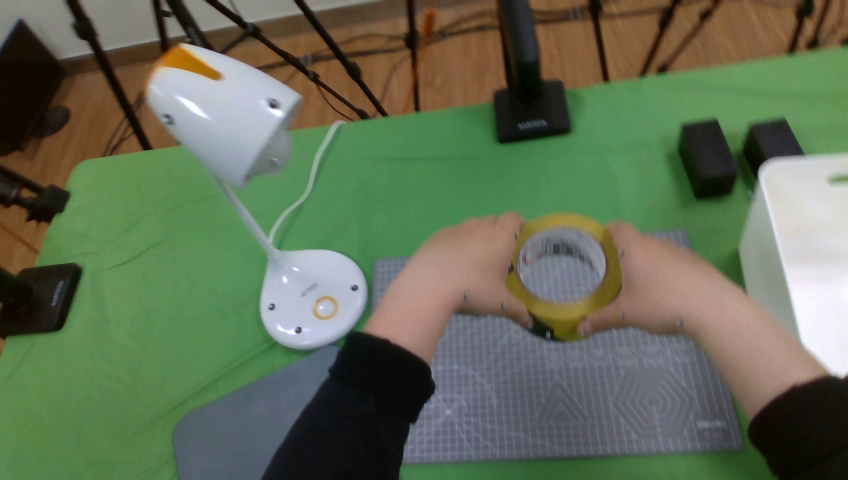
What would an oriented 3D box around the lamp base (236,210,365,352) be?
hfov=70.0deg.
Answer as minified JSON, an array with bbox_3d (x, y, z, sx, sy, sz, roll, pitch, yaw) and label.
[{"bbox_3d":[-0.188,0.042,0.830,0.177,0.182,0.160,30,68,30],"label":"lamp base"}]

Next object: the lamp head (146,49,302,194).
[{"bbox_3d":[-0.195,-0.119,0.576,0.123,0.112,0.112,31,65,-8],"label":"lamp head"}]

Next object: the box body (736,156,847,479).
[{"bbox_3d":[0.505,0.097,0.647,0.253,0.162,0.361,-2,57,11],"label":"box body"}]

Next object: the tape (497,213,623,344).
[{"bbox_3d":[0.126,0.034,0.567,0.117,0.053,0.116,-5,57,9],"label":"tape"}]

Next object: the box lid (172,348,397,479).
[{"bbox_3d":[-0.161,0.328,0.740,0.263,0.015,0.367,-25,56,-4],"label":"box lid"}]
